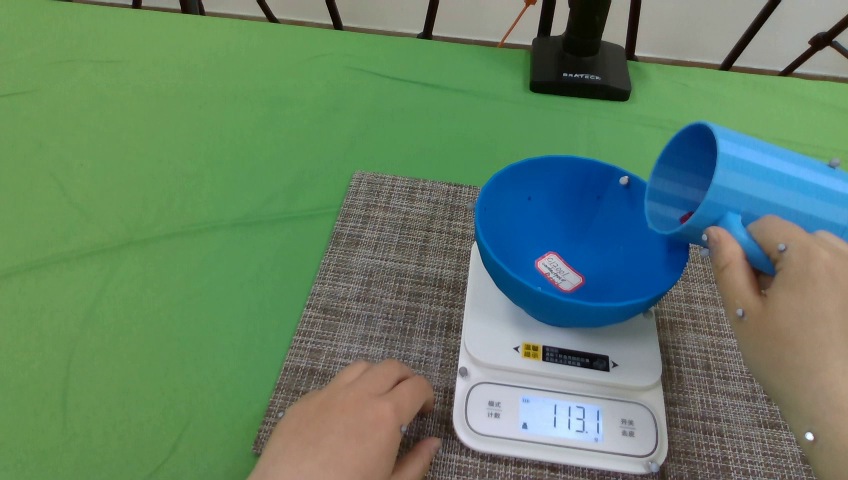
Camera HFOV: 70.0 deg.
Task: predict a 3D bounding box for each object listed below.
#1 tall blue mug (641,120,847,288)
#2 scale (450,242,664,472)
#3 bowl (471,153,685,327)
[{"bbox_3d":[0.214,-0.023,0.386,0.108,0.078,0.106,15,11,-11],"label":"tall blue mug"},{"bbox_3d":[0.102,0.071,0.470,0.148,0.032,0.199,7,47,4],"label":"scale"},{"bbox_3d":[0.105,0.012,0.452,0.151,0.077,0.150,2,47,-2],"label":"bowl"}]
